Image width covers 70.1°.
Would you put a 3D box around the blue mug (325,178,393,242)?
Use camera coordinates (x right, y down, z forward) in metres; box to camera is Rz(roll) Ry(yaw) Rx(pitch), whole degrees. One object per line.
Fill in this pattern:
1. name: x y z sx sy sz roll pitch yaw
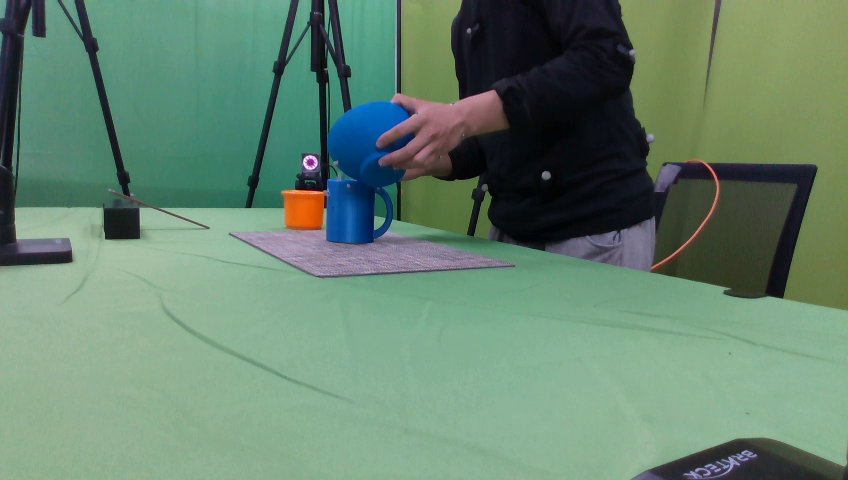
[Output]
1. blue mug: -0.111 -0.052 1.034 0.116 0.106 0.082 3 7 7

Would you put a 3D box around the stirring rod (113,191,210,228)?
1. stirring rod: -0.484 -0.055 1.121 0.177 0.006 0.014 22 -6 -22

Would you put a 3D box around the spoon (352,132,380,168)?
1. spoon: -0.104 -0.173 1.106 0.021 0.041 0.193 -19 20 11

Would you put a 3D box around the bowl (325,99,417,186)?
1. bowl: -0.074 -0.140 0.959 0.152 0.076 0.151 -16 -31 -10
